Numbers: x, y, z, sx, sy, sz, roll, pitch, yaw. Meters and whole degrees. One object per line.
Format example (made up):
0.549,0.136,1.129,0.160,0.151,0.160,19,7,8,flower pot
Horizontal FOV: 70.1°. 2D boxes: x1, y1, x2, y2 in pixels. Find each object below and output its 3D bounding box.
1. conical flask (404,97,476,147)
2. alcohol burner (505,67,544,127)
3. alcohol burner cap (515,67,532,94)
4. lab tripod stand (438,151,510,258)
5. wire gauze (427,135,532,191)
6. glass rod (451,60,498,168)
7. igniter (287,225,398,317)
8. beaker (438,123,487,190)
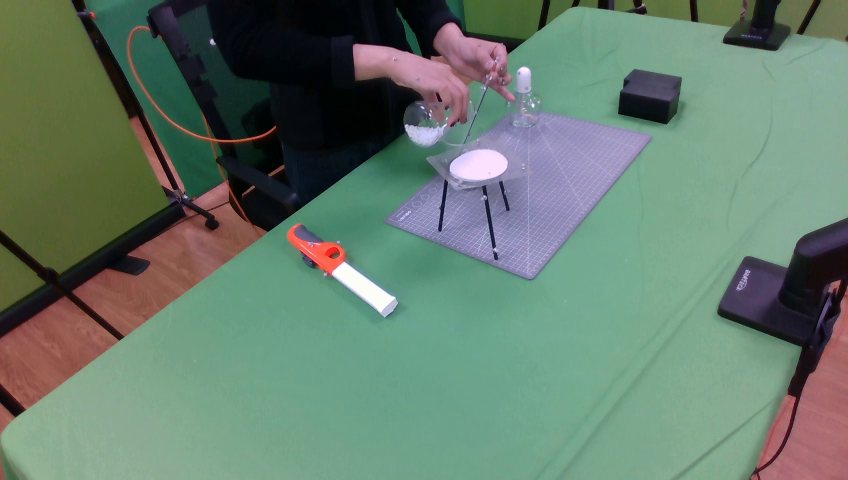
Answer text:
0.031,-0.202,0.983,0.074,0.075,0.122,28,41,36,conical flask
0.201,-0.288,1.211,0.078,0.119,0.077,-6,38,5,alcohol burner
0.197,-0.315,1.187,0.034,0.048,0.033,-3,46,3,alcohol burner cap
0.087,-0.064,0.952,0.148,0.132,0.147,-6,38,5,lab tripod stand
0.081,-0.116,0.909,0.125,0.011,0.120,-18,39,-11,wire gauze
0.083,-0.212,1.034,0.008,0.199,0.008,20,24,-9,glass rod
-0.139,0.041,0.958,0.057,0.025,0.274,-42,49,-19,igniter
0.072,-0.147,1.080,0.084,0.101,0.073,-5,40,7,beaker
